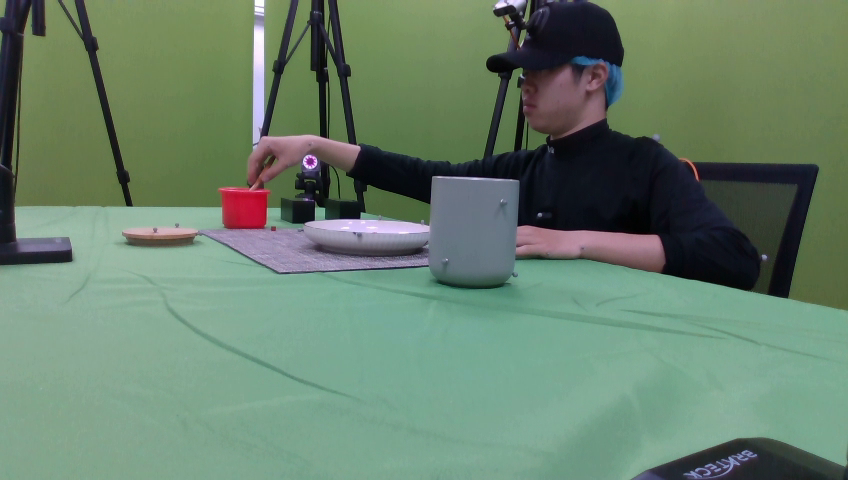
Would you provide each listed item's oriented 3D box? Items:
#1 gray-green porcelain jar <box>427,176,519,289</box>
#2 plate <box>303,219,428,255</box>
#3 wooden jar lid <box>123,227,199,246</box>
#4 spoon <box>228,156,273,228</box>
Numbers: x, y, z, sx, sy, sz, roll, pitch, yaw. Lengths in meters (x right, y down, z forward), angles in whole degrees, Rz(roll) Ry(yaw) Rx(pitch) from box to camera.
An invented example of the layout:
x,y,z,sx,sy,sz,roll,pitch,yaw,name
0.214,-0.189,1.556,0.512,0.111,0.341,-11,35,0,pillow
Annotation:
x,y,z,sx,sy,sz,roll,pitch,yaw,name
0.057,-0.010,0.722,0.106,0.126,0.106,2,7,0,gray-green porcelain jar
-0.085,-0.005,0.952,0.208,0.039,0.207,3,7,0,plate
-0.408,-0.006,0.942,0.108,0.020,0.108,3,6,0,wooden jar lid
-0.344,-0.103,1.218,0.042,0.193,0.021,29,-42,-18,spoon
